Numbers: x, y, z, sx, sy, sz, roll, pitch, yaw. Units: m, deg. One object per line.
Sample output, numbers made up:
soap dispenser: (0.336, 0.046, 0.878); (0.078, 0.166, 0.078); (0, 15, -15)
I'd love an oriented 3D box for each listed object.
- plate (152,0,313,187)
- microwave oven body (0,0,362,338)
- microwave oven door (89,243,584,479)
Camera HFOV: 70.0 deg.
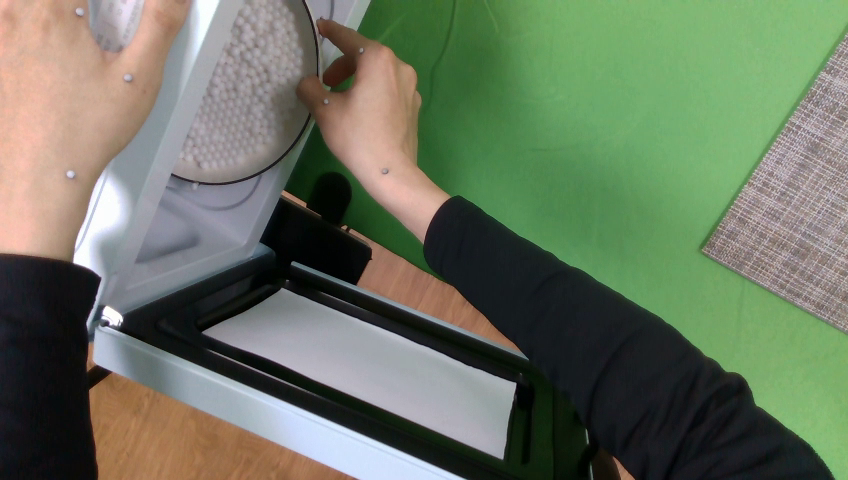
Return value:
plate: (-0.192, -0.152, 0.526); (0.209, 0.038, 0.210); (2, 103, 9)
microwave oven body: (-0.217, -0.208, 0.472); (0.325, 0.260, 0.442); (30, 106, 3)
microwave oven door: (-0.037, 0.104, 0.496); (0.355, 0.243, 0.039); (21, 104, 6)
